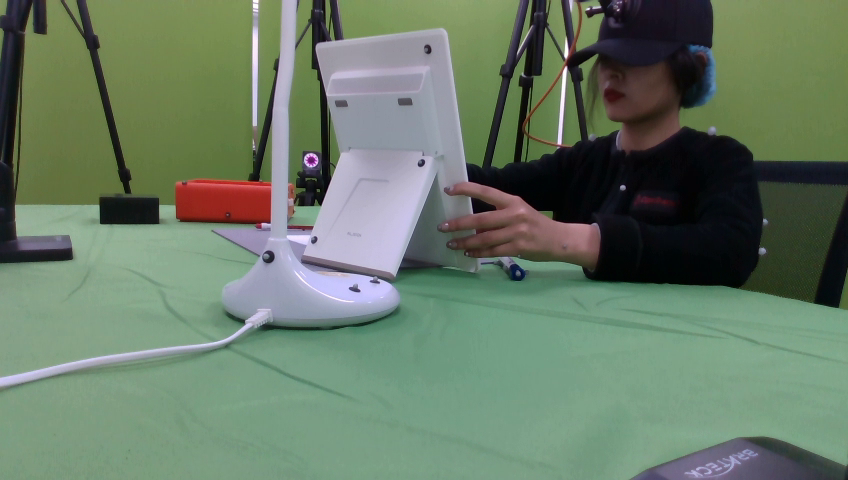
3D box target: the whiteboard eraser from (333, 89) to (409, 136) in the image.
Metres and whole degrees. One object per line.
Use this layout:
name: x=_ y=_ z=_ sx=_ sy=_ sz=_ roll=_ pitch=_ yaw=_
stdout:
whiteboard eraser: x=-0.074 y=-0.170 z=0.815 sx=0.112 sy=0.055 sz=0.042 roll=4 pitch=23 yaw=40

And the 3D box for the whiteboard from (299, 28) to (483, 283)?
whiteboard: x=-0.075 y=-0.082 z=0.741 sx=0.216 sy=0.305 sz=0.144 roll=9 pitch=30 yaw=39

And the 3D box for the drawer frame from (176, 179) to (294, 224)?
drawer frame: x=-0.395 y=-0.086 z=1.299 sx=0.214 sy=0.082 sz=0.201 roll=1 pitch=8 yaw=-9

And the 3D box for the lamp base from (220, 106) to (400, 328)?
lamp base: x=-0.101 y=-0.023 z=0.531 sx=0.160 sy=0.180 sz=0.179 roll=4 pitch=10 yaw=10

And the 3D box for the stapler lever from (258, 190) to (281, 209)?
stapler lever: x=-0.333 y=-0.091 z=1.305 sx=0.027 sy=0.040 sz=0.118 roll=6 pitch=9 yaw=-2

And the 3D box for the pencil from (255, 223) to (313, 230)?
pencil: x=-0.216 y=-0.023 z=1.134 sx=0.195 sy=0.012 sz=0.012 roll=1 pitch=7 yaw=-21

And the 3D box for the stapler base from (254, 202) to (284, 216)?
stapler base: x=-0.334 y=-0.069 z=1.307 sx=0.041 sy=0.024 sz=0.130 roll=6 pitch=6 yaw=-2

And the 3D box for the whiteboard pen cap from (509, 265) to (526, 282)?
whiteboard pen cap: x=0.116 y=0.040 z=0.752 sx=0.018 sy=0.018 sz=0.033 roll=2 pitch=10 yaw=-2

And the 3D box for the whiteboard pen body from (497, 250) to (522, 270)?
whiteboard pen body: x=0.116 y=0.032 z=0.811 sx=0.017 sy=0.017 sz=0.140 roll=2 pitch=8 yaw=-2

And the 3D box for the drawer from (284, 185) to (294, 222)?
drawer: x=-0.390 y=-0.084 z=1.301 sx=0.212 sy=0.073 sz=0.194 roll=1 pitch=8 yaw=-8
